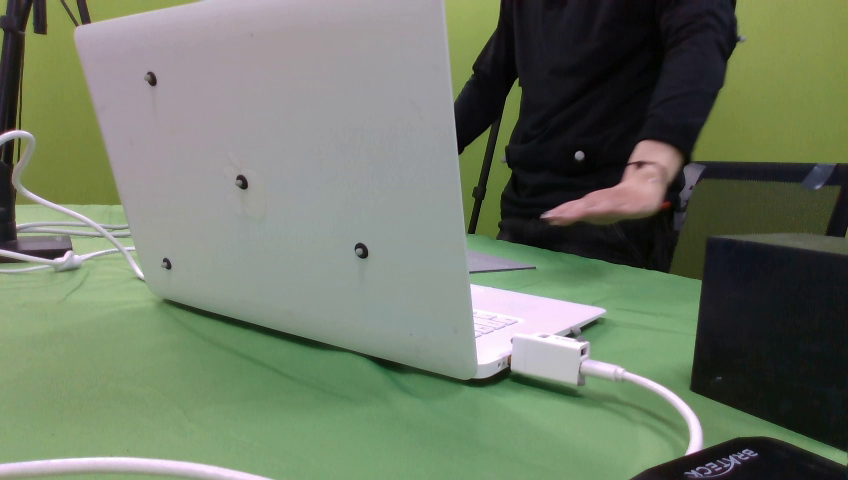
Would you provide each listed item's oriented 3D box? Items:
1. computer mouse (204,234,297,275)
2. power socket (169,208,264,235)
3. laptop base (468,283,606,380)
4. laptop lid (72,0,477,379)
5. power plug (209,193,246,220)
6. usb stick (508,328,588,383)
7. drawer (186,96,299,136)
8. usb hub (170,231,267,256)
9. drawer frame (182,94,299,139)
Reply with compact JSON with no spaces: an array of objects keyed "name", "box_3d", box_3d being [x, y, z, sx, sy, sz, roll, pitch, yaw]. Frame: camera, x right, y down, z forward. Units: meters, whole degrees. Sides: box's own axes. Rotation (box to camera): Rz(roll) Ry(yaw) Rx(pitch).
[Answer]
[{"name":"computer mouse","box_3d":[-0.212,0.016,0.747,0.062,0.041,0.117,7,12,22]},{"name":"power socket","box_3d":[-0.381,-0.038,1.128,0.072,0.032,0.227,4,8,16]},{"name":"laptop base","box_3d":[-0.042,0.058,0.554,0.352,0.023,0.237,8,7,35]},{"name":"laptop lid","box_3d":[-0.125,-0.042,0.418,0.355,0.241,0.013,9,25,34]},{"name":"power plug","box_3d":[-0.388,-0.067,1.205,0.072,0.052,0.035,3,8,26]},{"name":"usb stick","box_3d":[0.072,0.072,0.383,0.059,0.027,0.021,2,2,34]},{"name":"drawer","box_3d":[-0.415,-0.276,1.370,0.195,0.073,0.210,-4,9,-35]},{"name":"usb hub","box_3d":[-0.290,0.004,0.862,0.049,0.025,0.126,10,11,42]},{"name":"drawer frame","box_3d":[-0.418,-0.276,1.371,0.203,0.082,0.212,-4,9,-36]}]
